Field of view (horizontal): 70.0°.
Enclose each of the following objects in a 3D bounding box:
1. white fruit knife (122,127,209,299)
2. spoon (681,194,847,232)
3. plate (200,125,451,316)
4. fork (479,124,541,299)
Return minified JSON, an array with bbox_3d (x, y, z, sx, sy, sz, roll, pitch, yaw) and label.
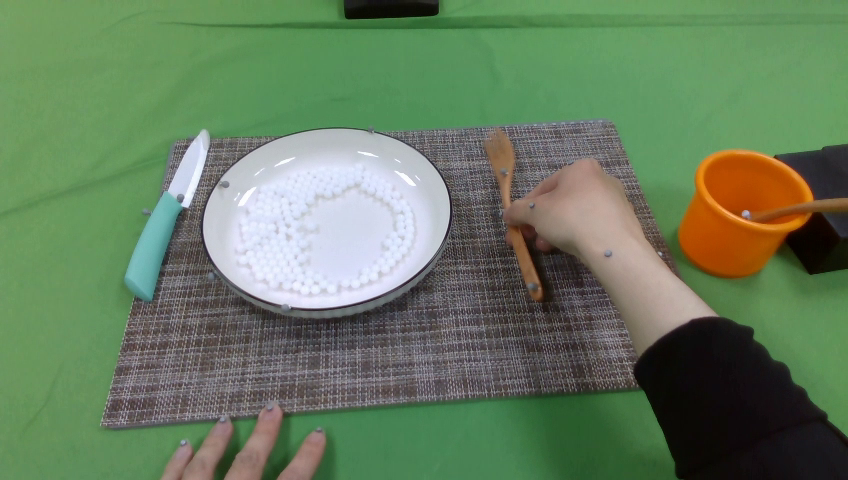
[{"bbox_3d":[-0.227,-0.036,0.546,0.027,0.016,0.205,22,45,-20],"label":"white fruit knife"},{"bbox_3d":[0.288,-0.023,0.468,0.041,0.193,0.022,-32,102,-28],"label":"spoon"},{"bbox_3d":[-0.081,-0.019,0.521,0.209,0.038,0.207,1,50,-1],"label":"plate"},{"bbox_3d":[0.075,-0.032,0.539,0.019,0.028,0.205,30,36,-33],"label":"fork"}]
